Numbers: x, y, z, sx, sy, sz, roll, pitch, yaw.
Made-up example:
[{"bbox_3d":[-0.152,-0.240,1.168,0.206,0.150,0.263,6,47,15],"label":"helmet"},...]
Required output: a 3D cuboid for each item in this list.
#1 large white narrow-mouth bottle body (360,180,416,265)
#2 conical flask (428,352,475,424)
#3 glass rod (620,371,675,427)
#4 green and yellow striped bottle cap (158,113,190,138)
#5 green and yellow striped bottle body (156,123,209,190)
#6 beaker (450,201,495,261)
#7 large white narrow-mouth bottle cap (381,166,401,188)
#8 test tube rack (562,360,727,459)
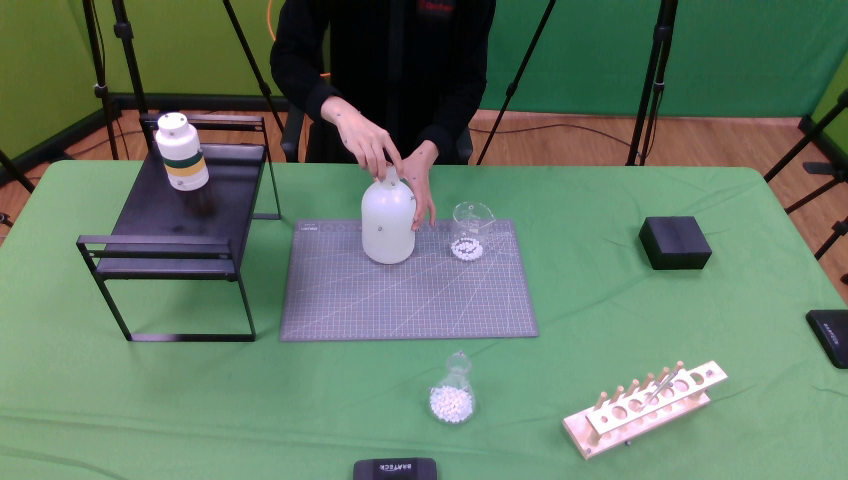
[{"bbox_3d":[-0.066,-0.050,1.119,0.102,0.195,0.101,4,45,-4],"label":"large white narrow-mouth bottle body"},{"bbox_3d":[0.046,0.220,0.920,0.075,0.122,0.075,2,46,-2],"label":"conical flask"},{"bbox_3d":[0.316,0.230,0.863,0.008,0.200,0.008,3,54,-3],"label":"glass rod"},{"bbox_3d":[-0.393,-0.180,0.951,0.045,0.020,0.045,2,44,-2],"label":"green and yellow striped bottle cap"},{"bbox_3d":[-0.395,-0.145,0.989,0.063,0.120,0.063,2,46,-2],"label":"green and yellow striped bottle body"},{"bbox_3d":[0.089,-0.014,1.160,0.084,0.101,0.073,9,47,4],"label":"beaker"},{"bbox_3d":[-0.057,-0.111,1.056,0.038,0.024,0.037,4,45,-4],"label":"large white narrow-mouth bottle cap"},{"bbox_3d":[0.341,0.247,0.940,0.243,0.085,0.066,-16,49,-18],"label":"test tube rack"}]
